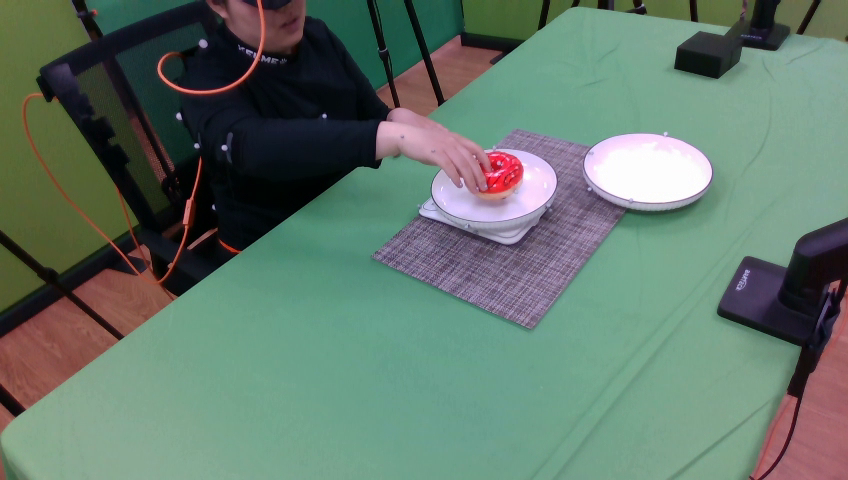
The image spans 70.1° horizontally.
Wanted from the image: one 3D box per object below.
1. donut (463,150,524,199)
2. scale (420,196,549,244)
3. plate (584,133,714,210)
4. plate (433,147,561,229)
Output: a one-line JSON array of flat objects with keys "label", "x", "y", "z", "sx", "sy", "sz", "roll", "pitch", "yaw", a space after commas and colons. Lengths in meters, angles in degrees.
[{"label": "donut", "x": 0.111, "y": -0.105, "z": 0.964, "sx": 0.099, "sy": 0.048, "sz": 0.098, "roll": -6, "pitch": 44, "yaw": 6}, {"label": "scale", "x": 0.106, "y": -0.064, "z": 1.029, "sx": 0.199, "sy": 0.032, "sz": 0.149, "roll": 21, "pitch": 48, "yaw": 32}, {"label": "plate", "x": 0.379, "y": -0.113, "z": 1.030, "sx": 0.209, "sy": 0.038, "sz": 0.208, "roll": -4, "pitch": 41, "yaw": 4}, {"label": "plate", "x": 0.120, "y": -0.082, "z": 0.996, "sx": 0.207, "sy": 0.039, "sz": 0.206, "roll": -6, "pitch": 40, "yaw": 5}]
